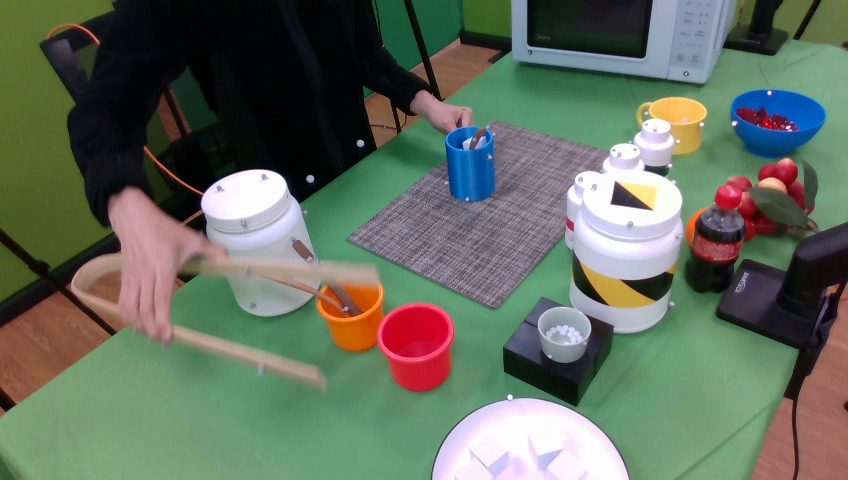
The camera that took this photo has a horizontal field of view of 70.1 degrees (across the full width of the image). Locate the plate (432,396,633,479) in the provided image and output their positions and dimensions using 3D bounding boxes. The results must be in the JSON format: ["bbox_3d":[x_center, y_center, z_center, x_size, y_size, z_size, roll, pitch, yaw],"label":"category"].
[{"bbox_3d":[0.112,0.261,0.634,0.209,0.038,0.208,-5,40,4],"label":"plate"}]

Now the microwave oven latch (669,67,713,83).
[{"bbox_3d":[0.556,-0.348,1.261,0.078,0.029,0.030,16,46,27],"label":"microwave oven latch"}]

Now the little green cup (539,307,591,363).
[{"bbox_3d":[0.167,0.114,0.721,0.061,0.039,0.061,-4,43,4],"label":"little green cup"}]

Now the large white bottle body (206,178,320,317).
[{"bbox_3d":[-0.232,0.007,0.876,0.130,0.185,0.130,-5,40,5],"label":"large white bottle body"}]

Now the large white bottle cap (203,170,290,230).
[{"bbox_3d":[-0.241,-0.057,0.822,0.115,0.018,0.114,-4,41,4],"label":"large white bottle cap"}]

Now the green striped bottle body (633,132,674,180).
[{"bbox_3d":[0.376,-0.135,1.001,0.063,0.120,0.063,-5,41,5],"label":"green striped bottle body"}]

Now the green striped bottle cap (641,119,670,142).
[{"bbox_3d":[0.371,-0.175,0.968,0.044,0.020,0.044,-6,41,6],"label":"green striped bottle cap"}]

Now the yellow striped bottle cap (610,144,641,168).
[{"bbox_3d":[0.307,-0.128,0.923,0.044,0.019,0.044,-5,39,5],"label":"yellow striped bottle cap"}]

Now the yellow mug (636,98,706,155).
[{"bbox_3d":[0.453,-0.217,1.128,0.100,0.064,0.129,-34,46,-27],"label":"yellow mug"}]

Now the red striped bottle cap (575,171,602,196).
[{"bbox_3d":[0.242,-0.081,0.876,0.044,0.018,0.044,-5,44,5],"label":"red striped bottle cap"}]

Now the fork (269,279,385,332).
[{"bbox_3d":[-0.142,0.077,0.806,0.209,0.018,0.028,30,44,-24],"label":"fork"}]

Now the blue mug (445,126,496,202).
[{"bbox_3d":[0.078,-0.141,1.062,0.082,0.106,0.115,-12,40,-5],"label":"blue mug"}]

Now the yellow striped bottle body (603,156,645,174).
[{"bbox_3d":[0.313,-0.089,0.956,0.063,0.121,0.062,-4,40,4],"label":"yellow striped bottle body"}]

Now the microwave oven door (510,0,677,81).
[{"bbox_3d":[0.353,-0.478,1.290,0.353,0.245,0.039,15,45,25],"label":"microwave oven door"}]

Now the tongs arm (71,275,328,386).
[{"bbox_3d":[-0.260,0.094,0.652,0.385,0.028,0.028,12,53,26],"label":"tongs arm"}]

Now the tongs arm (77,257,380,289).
[{"bbox_3d":[-0.236,0.046,0.698,0.383,0.027,0.050,4,47,19],"label":"tongs arm"}]

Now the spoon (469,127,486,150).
[{"bbox_3d":[0.079,-0.145,0.999,0.042,0.194,0.021,-7,73,-5],"label":"spoon"}]

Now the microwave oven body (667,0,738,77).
[{"bbox_3d":[0.462,-0.552,1.369,0.439,0.261,0.326,15,45,26],"label":"microwave oven body"}]

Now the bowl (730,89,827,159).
[{"bbox_3d":[0.615,-0.197,1.069,0.151,0.077,0.150,-5,40,4],"label":"bowl"}]

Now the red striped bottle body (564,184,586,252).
[{"bbox_3d":[0.247,-0.041,0.910,0.063,0.120,0.062,-3,39,3],"label":"red striped bottle body"}]

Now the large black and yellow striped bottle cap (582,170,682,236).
[{"bbox_3d":[0.252,-0.048,0.735,0.115,0.019,0.114,-3,40,3],"label":"large black and yellow striped bottle cap"}]

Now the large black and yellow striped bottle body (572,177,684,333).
[{"bbox_3d":[0.262,0.017,0.788,0.131,0.185,0.130,-5,40,4],"label":"large black and yellow striped bottle body"}]

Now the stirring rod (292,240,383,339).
[{"bbox_3d":[-0.118,0.068,0.826,0.176,0.006,0.014,49,59,-4],"label":"stirring rod"}]
